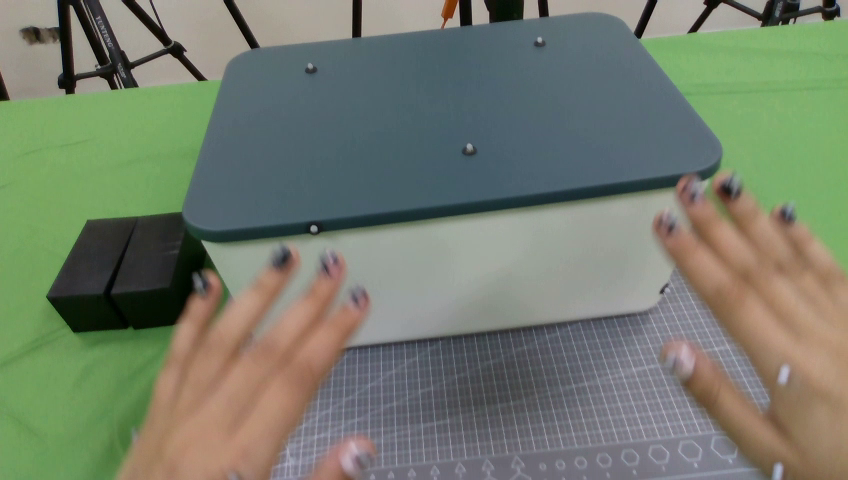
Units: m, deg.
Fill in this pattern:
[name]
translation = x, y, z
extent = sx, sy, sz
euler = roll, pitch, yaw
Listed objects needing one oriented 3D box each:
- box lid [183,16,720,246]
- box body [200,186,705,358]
[box lid]
translation = 0.009, -0.104, 0.487
extent = 0.372, 0.015, 0.260
euler = -7, 43, -1
[box body]
translation = 0.017, -0.050, 0.539
extent = 0.364, 0.162, 0.251
euler = -7, 44, -1
